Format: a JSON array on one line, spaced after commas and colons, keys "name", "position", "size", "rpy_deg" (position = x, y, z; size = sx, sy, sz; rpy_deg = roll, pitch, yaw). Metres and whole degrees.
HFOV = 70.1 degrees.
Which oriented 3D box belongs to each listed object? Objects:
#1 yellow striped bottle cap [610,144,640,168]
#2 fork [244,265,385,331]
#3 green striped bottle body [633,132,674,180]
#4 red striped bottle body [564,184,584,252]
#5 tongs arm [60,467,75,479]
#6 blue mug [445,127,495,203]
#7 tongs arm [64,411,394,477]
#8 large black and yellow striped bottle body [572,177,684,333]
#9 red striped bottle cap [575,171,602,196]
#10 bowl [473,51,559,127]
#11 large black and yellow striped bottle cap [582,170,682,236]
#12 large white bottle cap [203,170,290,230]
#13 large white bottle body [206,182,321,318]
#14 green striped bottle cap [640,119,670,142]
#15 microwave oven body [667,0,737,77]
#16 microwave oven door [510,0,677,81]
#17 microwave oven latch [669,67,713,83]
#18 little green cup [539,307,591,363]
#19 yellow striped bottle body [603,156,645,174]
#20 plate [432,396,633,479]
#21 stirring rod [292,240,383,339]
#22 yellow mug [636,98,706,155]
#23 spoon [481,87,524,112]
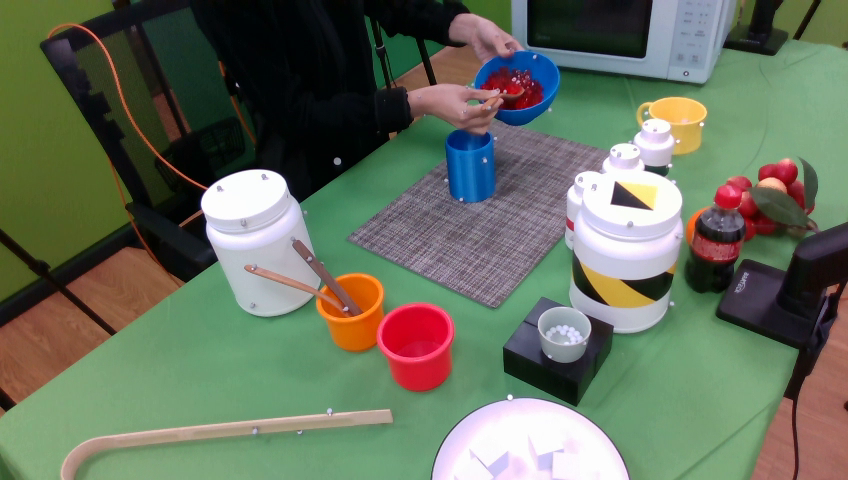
[{"name": "yellow striped bottle cap", "position": [0.307, -0.128, 0.923], "size": [0.044, 0.019, 0.044], "rpy_deg": [-5, 39, 5]}, {"name": "fork", "position": [-0.142, 0.078, 0.806], "size": [0.209, 0.018, 0.028], "rpy_deg": [30, 33, -24]}, {"name": "green striped bottle body", "position": [0.376, -0.135, 1.001], "size": [0.063, 0.120, 0.063], "rpy_deg": [-5, 40, 5]}, {"name": "red striped bottle body", "position": [0.247, -0.041, 0.910], "size": [0.063, 0.120, 0.062], "rpy_deg": [-3, 39, 3]}, {"name": "tongs arm", "position": [-0.239, 0.301, 0.648], "size": [0.386, 0.028, 0.028], "rpy_deg": [6, 49, 16]}, {"name": "blue mug", "position": [0.081, -0.140, 1.059], "size": [0.082, 0.106, 0.116], "rpy_deg": [-4, 41, 4]}, {"name": "tongs arm", "position": [-0.228, 0.241, 0.715], "size": [0.385, 0.026, 0.050], "rpy_deg": [-5, 43, 4]}, {"name": "large black and yellow striped bottle body", "position": [0.262, 0.017, 0.788], "size": [0.131, 0.185, 0.130], "rpy_deg": [-5, 40, 4]}, {"name": "red striped bottle cap", "position": [0.242, -0.081, 0.876], "size": [0.044, 0.018, 0.044], "rpy_deg": [-5, 44, 5]}, {"name": "bowl", "position": [0.167, -0.258, 1.087], "size": [0.151, 0.077, 0.150], "rpy_deg": [-5, 57, 8]}, {"name": "large black and yellow striped bottle cap", "position": [0.252, -0.048, 0.735], "size": [0.115, 0.019, 0.114], "rpy_deg": [-3, 40, 3]}, {"name": "large white bottle cap", "position": [-0.241, -0.057, 0.822], "size": [0.115, 0.018, 0.114], "rpy_deg": [-4, 40, 4]}, {"name": "large white bottle body", "position": [-0.233, 0.008, 0.876], "size": [0.130, 0.185, 0.130], "rpy_deg": [-5, 40, 4]}, {"name": "green striped bottle cap", "position": [0.370, -0.174, 0.968], "size": [0.044, 0.020, 0.044], "rpy_deg": [-3, 41, 3]}, {"name": "microwave oven body", "position": [0.462, -0.552, 1.369], "size": [0.439, 0.261, 0.326], "rpy_deg": [15, 45, 26]}, {"name": "microwave oven door", "position": [0.354, -0.478, 1.291], "size": [0.353, 0.245, 0.039], "rpy_deg": [15, 45, 25]}, {"name": "microwave oven latch", "position": [0.556, -0.348, 1.261], "size": [0.078, 0.029, 0.030], "rpy_deg": [16, 46, 27]}, {"name": "little green cup", "position": [0.167, 0.114, 0.721], "size": [0.061, 0.039, 0.061], "rpy_deg": [-4, 43, 4]}, {"name": "yellow striped bottle body", "position": [0.313, -0.089, 0.956], "size": [0.063, 0.121, 0.062], "rpy_deg": [-4, 40, 4]}, {"name": "plate", "position": [0.112, 0.261, 0.634], "size": [0.209, 0.038, 0.208], "rpy_deg": [-5, 40, 4]}, {"name": "stirring rod", "position": [-0.118, 0.068, 0.826], "size": [0.176, 0.006, 0.014], "rpy_deg": [49, 60, -4]}, {"name": "yellow mug", "position": [0.453, -0.217, 1.128], "size": [0.100, 0.064, 0.129], "rpy_deg": [-34, 45, -27]}, {"name": "spoon", "position": [0.130, -0.241, 1.029], "size": [0.041, 0.021, 0.194], "rpy_deg": [8, 22, 23]}]
